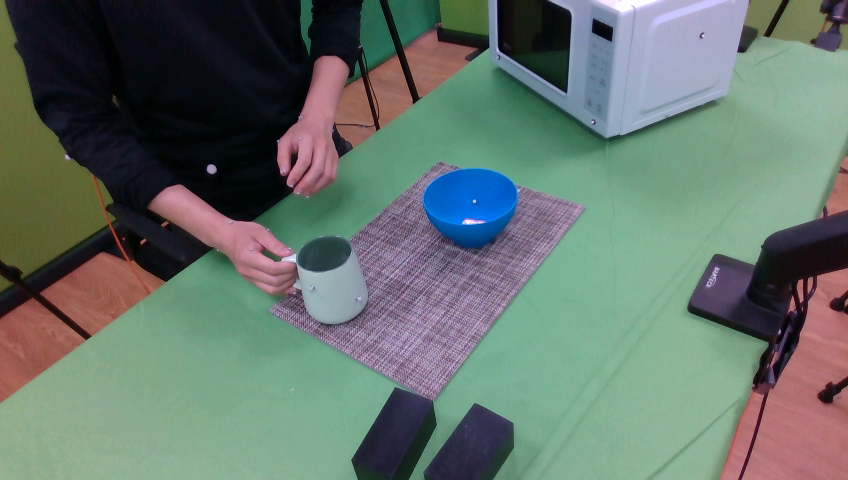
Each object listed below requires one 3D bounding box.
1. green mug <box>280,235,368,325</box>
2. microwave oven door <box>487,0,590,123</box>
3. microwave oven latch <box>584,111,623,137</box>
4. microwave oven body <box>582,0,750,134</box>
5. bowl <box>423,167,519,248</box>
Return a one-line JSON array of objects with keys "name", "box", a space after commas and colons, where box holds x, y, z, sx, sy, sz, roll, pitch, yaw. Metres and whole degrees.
[{"name": "green mug", "box": [-0.146, 0.055, 0.857, 0.125, 0.105, 0.092, 8, 43, 17]}, {"name": "microwave oven door", "box": [0.232, -0.420, 1.230, 0.039, 0.245, 0.352, -22, 43, -16]}, {"name": "microwave oven latch", "box": [0.337, -0.222, 1.142, 0.030, 0.029, 0.078, -21, 42, -14]}, {"name": "microwave oven body", "box": [0.382, -0.444, 1.246, 0.327, 0.261, 0.437, -22, 42, -16]}, {"name": "bowl", "box": [0.075, -0.041, 0.959, 0.151, 0.077, 0.150, -4, 40, 4]}]
